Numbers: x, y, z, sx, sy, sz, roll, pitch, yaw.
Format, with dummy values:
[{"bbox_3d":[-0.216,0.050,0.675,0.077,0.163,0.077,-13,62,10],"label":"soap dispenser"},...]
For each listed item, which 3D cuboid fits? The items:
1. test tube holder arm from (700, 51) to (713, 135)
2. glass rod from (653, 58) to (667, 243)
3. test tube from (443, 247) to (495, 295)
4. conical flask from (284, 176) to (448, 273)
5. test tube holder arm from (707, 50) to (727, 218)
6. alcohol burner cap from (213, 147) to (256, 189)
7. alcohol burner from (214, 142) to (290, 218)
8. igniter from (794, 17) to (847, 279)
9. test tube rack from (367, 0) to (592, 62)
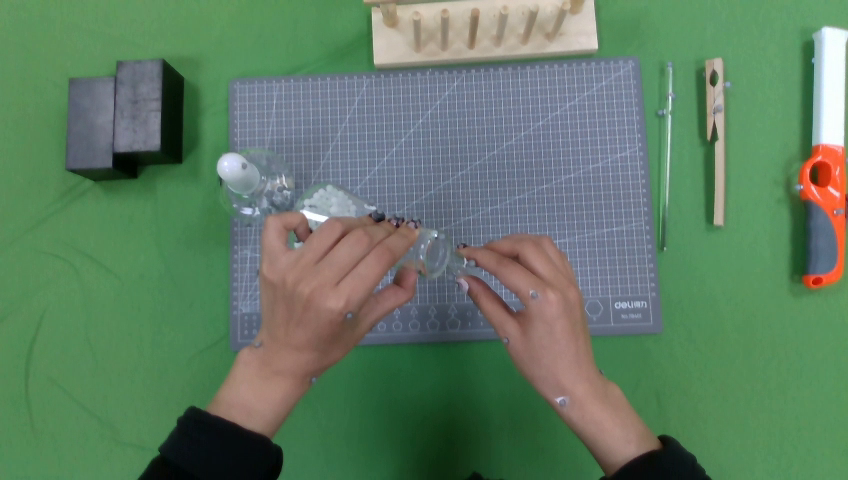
[{"bbox_3d":[0.302,-0.156,0.645,0.010,0.015,0.087,-5,83,39],"label":"test tube holder arm"},{"bbox_3d":[0.251,-0.096,0.643,0.008,0.008,0.199,4,86,2],"label":"glass rod"},{"bbox_3d":[0.043,0.030,0.530,0.017,0.151,0.017,-4,75,16],"label":"test tube"},{"bbox_3d":[-0.042,-0.005,0.471,0.121,0.076,0.075,14,83,30],"label":"conical flask"},{"bbox_3d":[0.307,-0.112,0.637,0.013,0.015,0.178,-7,82,38],"label":"test tube holder arm"},{"bbox_3d":[-0.178,-0.070,0.565,0.034,0.048,0.033,0,79,-1],"label":"alcohol burner cap"},{"bbox_3d":[-0.177,-0.063,0.601,0.078,0.119,0.077,-1,82,5],"label":"alcohol burner"},{"bbox_3d":[0.412,-0.095,0.628,0.057,0.025,0.276,6,84,-7],"label":"igniter"},{"bbox_3d":[0.058,-0.242,0.629,0.242,0.085,0.066,-4,83,2],"label":"test tube rack"}]
